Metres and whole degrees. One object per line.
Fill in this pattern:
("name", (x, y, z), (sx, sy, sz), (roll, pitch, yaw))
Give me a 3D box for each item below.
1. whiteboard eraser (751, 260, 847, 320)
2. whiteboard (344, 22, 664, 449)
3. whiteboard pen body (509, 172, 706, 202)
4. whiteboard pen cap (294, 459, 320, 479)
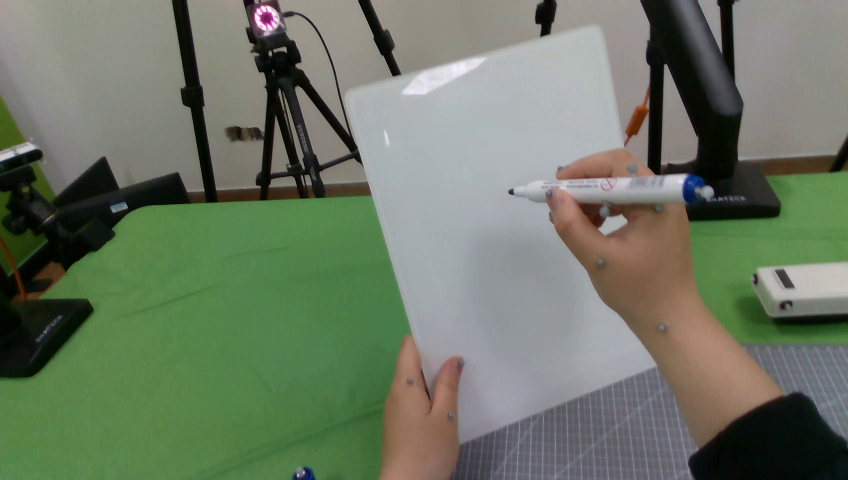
("whiteboard eraser", (0.378, 0.047, 0.574), (0.112, 0.042, 0.055), (-3, 36, 9))
("whiteboard", (0.065, -0.011, 0.559), (0.217, 0.307, 0.143), (-18, 14, -10))
("whiteboard pen body", (0.104, -0.032, 0.376), (0.017, 0.017, 0.140), (-34, 23, -31))
("whiteboard pen cap", (-0.093, 0.193, 0.489), (0.018, 0.033, 0.018), (-6, 35, 4))
